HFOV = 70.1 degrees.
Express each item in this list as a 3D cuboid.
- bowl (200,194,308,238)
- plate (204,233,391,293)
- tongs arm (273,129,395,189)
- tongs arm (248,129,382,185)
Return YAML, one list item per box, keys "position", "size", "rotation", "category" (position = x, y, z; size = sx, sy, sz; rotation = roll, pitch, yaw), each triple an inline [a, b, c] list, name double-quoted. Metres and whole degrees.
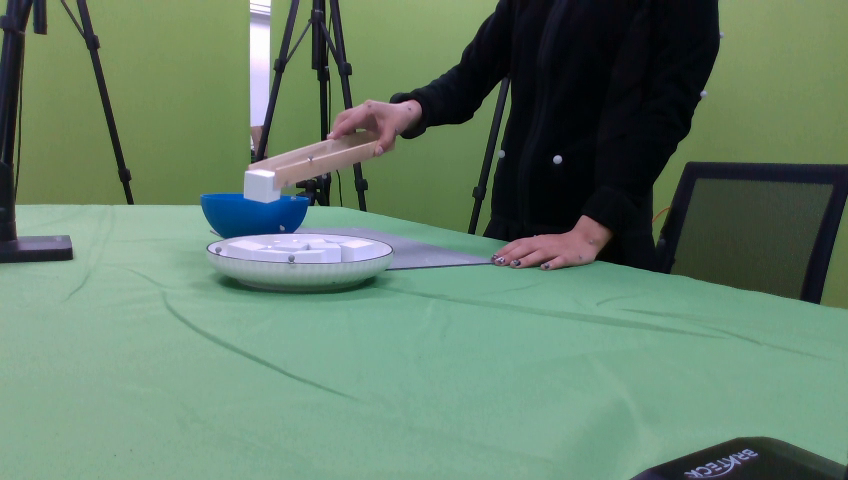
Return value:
- position: [-0.245, -0.025, 0.879]
  size: [0.151, 0.077, 0.151]
  rotation: [2, 7, 0]
  category: "bowl"
- position: [-0.143, 0.025, 0.697]
  size: [0.208, 0.039, 0.207]
  rotation: [3, 9, 0]
  category: "plate"
- position: [-0.121, -0.125, 0.873]
  size: [0.050, 0.026, 0.386]
  rotation: [10, 19, 20]
  category: "tongs arm"
- position: [-0.143, -0.129, 0.879]
  size: [0.028, 0.028, 0.388]
  rotation: [5, 18, 17]
  category: "tongs arm"
